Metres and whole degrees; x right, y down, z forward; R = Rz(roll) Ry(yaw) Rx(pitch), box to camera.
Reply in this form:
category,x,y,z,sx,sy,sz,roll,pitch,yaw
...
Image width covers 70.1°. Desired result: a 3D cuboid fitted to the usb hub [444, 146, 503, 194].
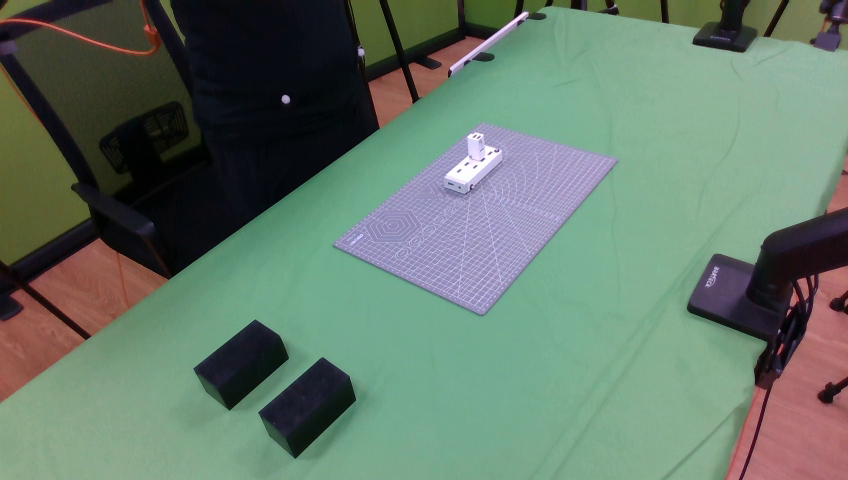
category,x,y,z,sx,sy,sz,roll,pitch,yaw
usb hub,0.091,-0.129,1.102,0.049,0.025,0.125,23,49,30

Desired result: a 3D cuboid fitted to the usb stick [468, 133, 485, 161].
category,x,y,z,sx,sy,sz,roll,pitch,yaw
usb stick,0.095,-0.162,1.096,0.027,0.059,0.021,21,48,27
